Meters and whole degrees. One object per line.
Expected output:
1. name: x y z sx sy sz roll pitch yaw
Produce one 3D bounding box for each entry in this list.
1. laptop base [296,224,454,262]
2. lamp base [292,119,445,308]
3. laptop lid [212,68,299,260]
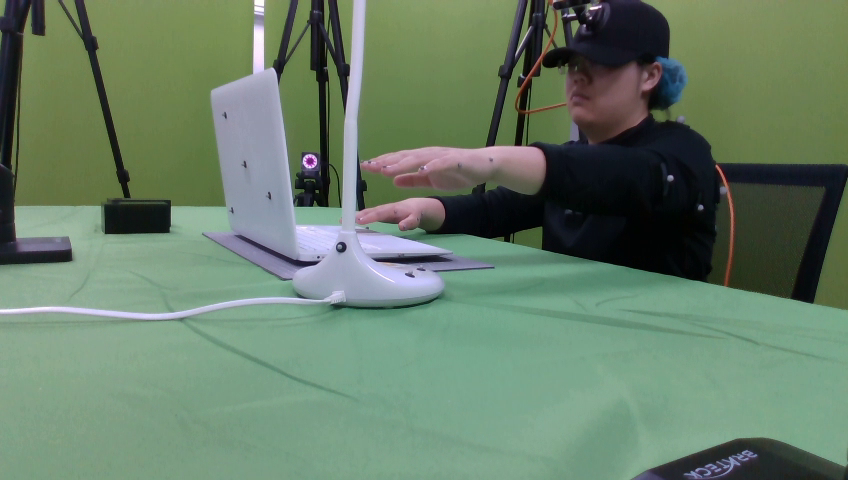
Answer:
1. laptop base: -0.143 0.003 0.957 0.237 0.023 0.352 3 6 -32
2. lamp base: -0.056 -0.030 0.616 0.160 0.180 0.179 4 10 8
3. laptop lid: -0.254 -0.110 0.872 0.013 0.241 0.355 -11 14 -30
